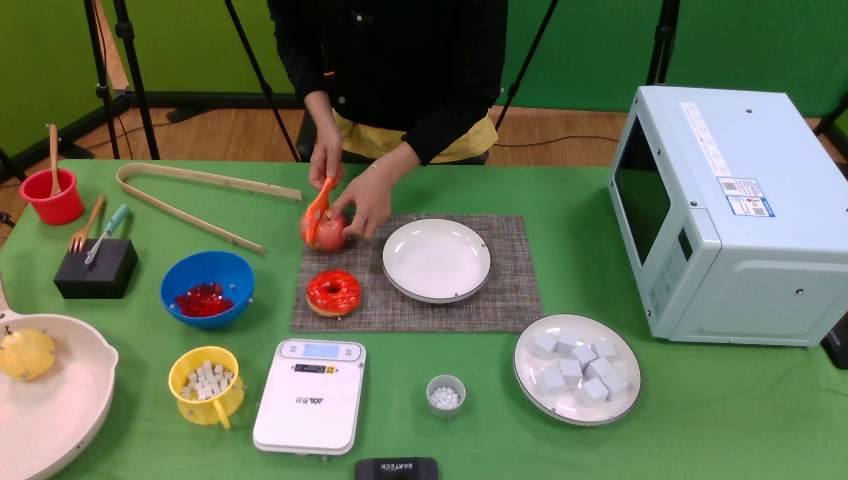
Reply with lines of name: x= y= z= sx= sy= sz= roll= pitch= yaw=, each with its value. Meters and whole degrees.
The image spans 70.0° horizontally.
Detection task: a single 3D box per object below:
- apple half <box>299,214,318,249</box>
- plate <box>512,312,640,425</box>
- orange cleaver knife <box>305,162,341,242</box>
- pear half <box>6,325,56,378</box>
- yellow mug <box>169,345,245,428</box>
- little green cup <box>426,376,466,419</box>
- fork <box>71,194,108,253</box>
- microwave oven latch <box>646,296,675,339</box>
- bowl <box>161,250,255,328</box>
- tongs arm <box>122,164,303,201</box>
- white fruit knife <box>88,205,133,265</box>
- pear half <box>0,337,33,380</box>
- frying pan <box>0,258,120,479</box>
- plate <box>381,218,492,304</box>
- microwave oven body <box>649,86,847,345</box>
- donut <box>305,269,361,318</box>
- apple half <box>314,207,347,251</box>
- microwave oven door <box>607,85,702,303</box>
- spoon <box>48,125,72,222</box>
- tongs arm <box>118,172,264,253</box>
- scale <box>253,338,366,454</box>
apple half: x=-0.219 y=-0.021 z=1.164 sx=0.033 sy=0.082 sz=0.081 roll=4 pitch=45 yaw=13
plate: x=0.246 y=0.213 z=0.999 sx=0.208 sy=0.039 sz=0.206 roll=2 pitch=46 yaw=-2
orange cleaver knife: x=-0.194 y=-0.077 z=1.168 sx=0.012 sy=0.077 sz=0.210 roll=9 pitch=38 yaw=5
pear half: x=-0.608 y=0.158 z=0.935 sx=0.076 sy=0.110 sz=0.056 roll=31 pitch=51 yaw=20
yellow mug: x=-0.322 y=0.230 z=0.922 sx=0.100 sy=0.064 sz=0.130 roll=-24 pitch=53 yaw=-25
little green cup: x=0.033 y=0.248 z=0.950 sx=0.061 sy=0.039 sz=0.061 roll=2 pitch=46 yaw=-2
fork: x=-0.634 y=-0.036 z=1.158 sx=0.028 sy=0.019 sz=0.206 roll=-8 pitch=31 yaw=-8
microwave oven latch: x=0.412 y=0.134 z=1.061 sx=0.030 sy=0.029 sz=0.078 roll=4 pitch=45 yaw=1
bowl: x=-0.362 y=0.098 z=1.040 sx=0.151 sy=0.077 sz=0.150 roll=2 pitch=45 yaw=-2
tongs arm: x=-0.444 y=-0.114 z=1.267 sx=0.384 sy=0.026 sz=0.050 roll=12 pitch=50 yaw=8
white fruit knife: x=-0.584 y=-0.013 z=1.129 sx=0.016 sy=0.027 sz=0.206 roll=-1 pitch=32 yaw=-4
pear half: x=-0.631 y=0.184 z=0.921 sx=0.070 sy=0.088 sz=0.031 roll=29 pitch=49 yaw=19
frying pan: x=-0.647 y=0.164 z=0.936 sx=0.307 sy=0.103 sz=0.485 roll=-19 pitch=58 yaw=-22
plate: x=0.023 y=0.042 z=1.143 sx=0.209 sy=0.038 sz=0.208 roll=2 pitch=46 yaw=-2
microwave oven body: x=0.567 y=-0.053 z=1.118 sx=0.326 sy=0.261 sz=0.439 roll=2 pitch=45 yaw=-1
donut: x=-0.160 y=0.094 z=1.075 sx=0.099 sy=0.048 sz=0.098 roll=4 pitch=45 yaw=-3
apple half: x=-0.174 y=-0.016 z=1.161 sx=0.053 sy=0.075 sz=0.080 roll=15 pitch=43 yaw=1
microwave oven door: x=0.423 y=-0.094 z=1.140 sx=0.039 sy=0.245 sz=0.353 roll=2 pitch=46 yaw=-1
spoon: x=-0.718 y=-0.131 z=1.189 sx=0.041 sy=0.021 sz=0.193 roll=-4 pitch=90 yaw=-7
tongs arm: x=-0.473 y=-0.056 z=1.211 sx=0.386 sy=0.028 sz=0.028 roll=23 pitch=56 yaw=18
scale: x=-0.175 y=0.236 z=0.951 sx=0.149 sy=0.032 sz=0.199 roll=4 pitch=45 yaw=-1
